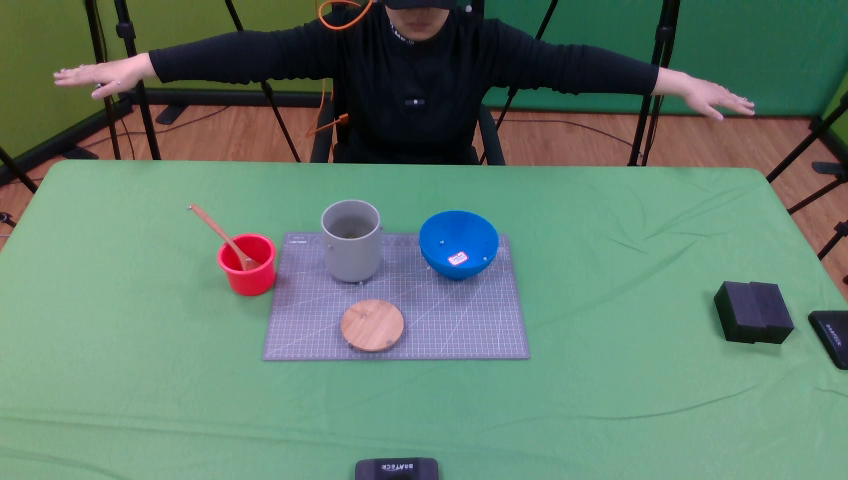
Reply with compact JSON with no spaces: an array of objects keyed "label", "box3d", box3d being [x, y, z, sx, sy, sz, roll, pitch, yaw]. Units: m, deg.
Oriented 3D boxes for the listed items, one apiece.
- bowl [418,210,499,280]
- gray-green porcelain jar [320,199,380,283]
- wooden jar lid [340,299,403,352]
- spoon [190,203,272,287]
[{"label":"bowl","box3d":[0.062,0.022,1.140,0.151,0.077,0.150,2,46,-2]},{"label":"gray-green porcelain jar","box3d":[-0.133,0.007,1.106,0.106,0.127,0.105,2,46,-2]},{"label":"wooden jar lid","box3d":[-0.090,0.150,1.046,0.108,0.021,0.107,3,47,-3]},{"label":"spoon","box3d":[-0.344,0.008,1.080,0.194,0.021,0.041,53,52,-16]}]
